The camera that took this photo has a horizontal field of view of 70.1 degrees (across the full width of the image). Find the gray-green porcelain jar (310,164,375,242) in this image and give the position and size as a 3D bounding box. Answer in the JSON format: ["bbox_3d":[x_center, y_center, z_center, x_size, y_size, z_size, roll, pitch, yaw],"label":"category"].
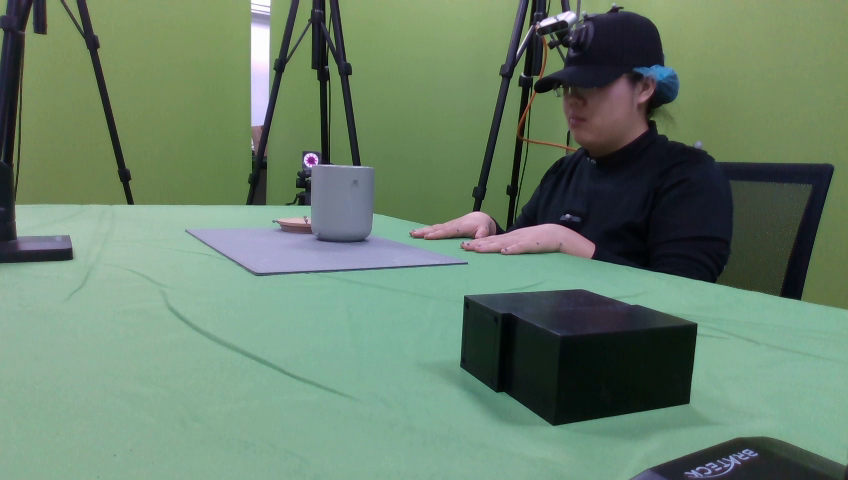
[{"bbox_3d":[-0.139,-0.063,1.025,0.106,0.126,0.106,3,8,0],"label":"gray-green porcelain jar"}]

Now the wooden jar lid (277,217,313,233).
[{"bbox_3d":[-0.221,-0.028,1.138,0.108,0.020,0.108,2,9,0],"label":"wooden jar lid"}]
